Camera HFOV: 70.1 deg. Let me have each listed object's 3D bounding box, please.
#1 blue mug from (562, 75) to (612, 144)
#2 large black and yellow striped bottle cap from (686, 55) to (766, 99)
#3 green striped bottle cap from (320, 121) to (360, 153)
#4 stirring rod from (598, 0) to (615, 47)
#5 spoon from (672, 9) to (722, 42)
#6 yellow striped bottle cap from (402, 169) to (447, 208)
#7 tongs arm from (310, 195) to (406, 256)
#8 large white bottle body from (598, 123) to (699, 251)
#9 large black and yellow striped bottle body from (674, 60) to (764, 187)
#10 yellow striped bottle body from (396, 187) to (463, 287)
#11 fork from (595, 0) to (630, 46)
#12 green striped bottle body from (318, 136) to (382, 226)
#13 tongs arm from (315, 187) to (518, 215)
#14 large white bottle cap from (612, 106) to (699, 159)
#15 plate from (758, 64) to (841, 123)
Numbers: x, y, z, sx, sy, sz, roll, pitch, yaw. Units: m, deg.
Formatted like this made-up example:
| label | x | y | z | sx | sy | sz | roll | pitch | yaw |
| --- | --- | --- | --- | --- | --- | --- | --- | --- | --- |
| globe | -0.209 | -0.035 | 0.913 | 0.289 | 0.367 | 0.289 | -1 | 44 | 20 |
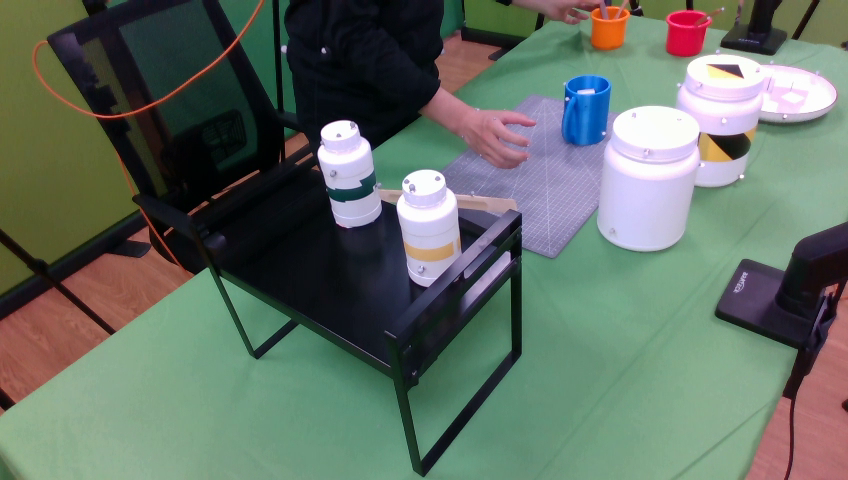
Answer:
| label | x | y | z | sx | sy | sz | roll | pitch | yaw |
| --- | --- | --- | --- | --- | --- | --- | --- | --- | --- |
| blue mug | 0.298 | -0.239 | 1.143 | 0.081 | 0.106 | 0.117 | 30 | 54 | 36 |
| large black and yellow striped bottle cap | 0.474 | -0.258 | 0.952 | 0.115 | 0.019 | 0.114 | -5 | 41 | 5 |
| green striped bottle cap | -0.097 | -0.120 | 0.699 | 0.044 | 0.020 | 0.044 | -3 | 39 | 3 |
| stirring rod | 0.437 | -0.551 | 1.463 | 0.014 | 0.006 | 0.175 | -11 | 84 | 0 |
| spoon | 0.606 | -0.476 | 1.345 | 0.042 | 0.021 | 0.193 | -6 | -3 | -2 |
| yellow striped bottle cap | 0.000 | -0.052 | 0.604 | 0.044 | 0.019 | 0.044 | -5 | 43 | 5 |
| tongs arm | -0.078 | -0.012 | 0.944 | 0.028 | 0.028 | 0.384 | -43 | 39 | -22 |
| large white bottle body | 0.334 | -0.090 | 0.906 | 0.130 | 0.185 | 0.130 | -5 | 41 | 5 |
| large black and yellow striped bottle body | 0.482 | -0.196 | 1.008 | 0.131 | 0.185 | 0.130 | -4 | 41 | 4 |
| yellow striped bottle body | 0.006 | -0.013 | 0.638 | 0.063 | 0.121 | 0.062 | -5 | 41 | 4 |
| fork | 0.480 | -0.556 | 1.453 | 0.028 | 0.019 | 0.207 | 41 | 103 | 40 |
| green striped bottle body | -0.090 | -0.080 | 0.733 | 0.063 | 0.120 | 0.063 | -5 | 41 | 4 |
| tongs arm | -0.028 | -0.060 | 0.988 | 0.382 | 0.027 | 0.051 | 10 | 45 | 36 |
| large white bottle cap | 0.325 | -0.153 | 0.850 | 0.115 | 0.018 | 0.114 | -4 | 42 | 4 |
| plate | 0.694 | -0.283 | 1.189 | 0.207 | 0.039 | 0.206 | -4 | 40 | 4 |
